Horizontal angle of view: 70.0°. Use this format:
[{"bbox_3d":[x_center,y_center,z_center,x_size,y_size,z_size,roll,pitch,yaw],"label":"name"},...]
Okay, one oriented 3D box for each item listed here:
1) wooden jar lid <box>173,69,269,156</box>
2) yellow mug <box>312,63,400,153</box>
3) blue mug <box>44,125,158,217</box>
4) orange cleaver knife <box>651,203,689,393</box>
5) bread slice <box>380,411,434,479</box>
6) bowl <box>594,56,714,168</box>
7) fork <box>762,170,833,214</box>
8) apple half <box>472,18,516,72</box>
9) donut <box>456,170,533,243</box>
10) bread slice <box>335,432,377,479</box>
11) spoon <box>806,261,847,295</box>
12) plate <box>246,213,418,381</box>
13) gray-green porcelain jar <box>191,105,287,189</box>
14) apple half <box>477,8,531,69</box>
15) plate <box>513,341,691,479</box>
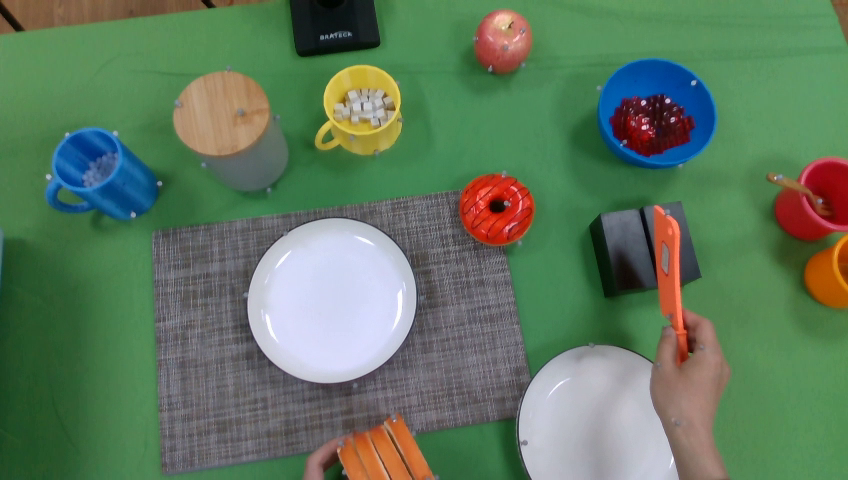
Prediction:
[{"bbox_3d":[-0.232,-0.145,0.699,0.108,0.021,0.107,0,73,0],"label":"wooden jar lid"},{"bbox_3d":[-0.094,-0.165,0.804,0.131,0.064,0.099,-39,79,-10],"label":"yellow mug"},{"bbox_3d":[-0.407,-0.074,0.751,0.116,0.106,0.082,-33,77,-9],"label":"blue mug"},{"bbox_3d":[0.275,0.064,0.684,0.012,0.077,0.211,-8,97,2],"label":"orange cleaver knife"},{"bbox_3d":[-0.016,0.238,0.659,0.018,0.135,0.106,-27,78,-15],"label":"bread slice"},{"bbox_3d":[0.293,-0.156,0.804,0.151,0.077,0.150,0,75,-1],"label":"bowl"},{"bbox_3d":[0.463,-0.060,0.746,0.209,0.018,0.028,12,70,-42],"label":"fork"},{"bbox_3d":[0.088,-0.257,0.827,0.033,0.081,0.081,-40,79,-16],"label":"apple half"},{"bbox_3d":[0.090,-0.044,0.782,0.099,0.048,0.098,1,76,-2],"label":"donut"},{"bbox_3d":[-0.065,0.258,0.655,0.019,0.132,0.104,-29,77,-11],"label":"bread slice"},{"bbox_3d":[0.567,0.025,0.725,0.022,0.193,0.041,7,65,-45],"label":"spoon"},{"bbox_3d":[-0.112,0.070,0.751,0.208,0.039,0.206,0,75,-1],"label":"plate"},{"bbox_3d":[-0.233,-0.128,0.759,0.106,0.127,0.105,0,74,-1],"label":"gray-green porcelain jar"},{"bbox_3d":[0.116,-0.282,0.836,0.053,0.075,0.080,-39,75,-16],"label":"apple half"},{"bbox_3d":[0.207,0.226,0.720,0.209,0.038,0.208,0,75,-1],"label":"plate"}]
